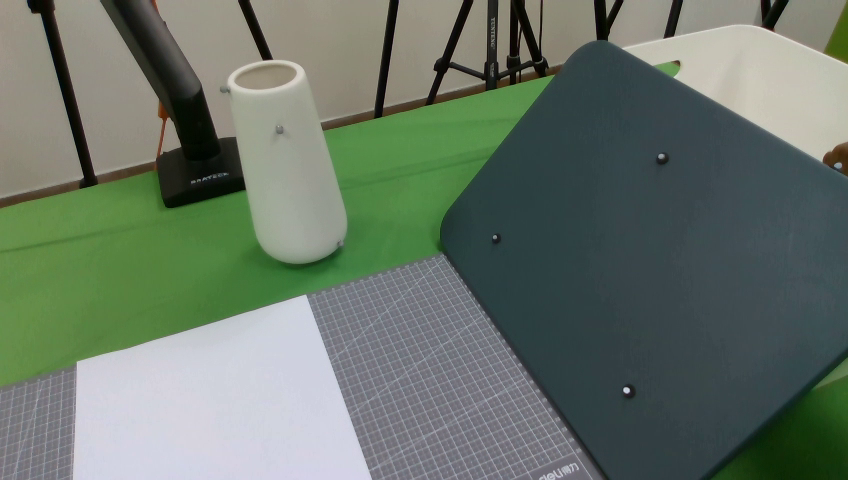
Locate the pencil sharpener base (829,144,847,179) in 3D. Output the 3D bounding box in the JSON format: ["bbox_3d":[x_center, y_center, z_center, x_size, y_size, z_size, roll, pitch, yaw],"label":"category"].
[{"bbox_3d":[0.398,-0.029,0.529,0.061,0.108,0.076,-18,28,-16],"label":"pencil sharpener base"}]

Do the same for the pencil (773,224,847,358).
[{"bbox_3d":[0.366,0.046,0.571,0.012,0.012,0.192,2,39,6],"label":"pencil"}]

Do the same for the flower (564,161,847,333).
[{"bbox_3d":[0.295,0.011,0.624,0.358,0.038,0.044,37,18,31],"label":"flower"}]

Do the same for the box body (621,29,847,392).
[{"bbox_3d":[0.326,-0.052,0.587,0.254,0.162,0.359,-17,41,-15],"label":"box body"}]

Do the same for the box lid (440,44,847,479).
[{"bbox_3d":[0.163,0.001,0.509,0.015,0.263,0.367,25,20,-40],"label":"box lid"}]

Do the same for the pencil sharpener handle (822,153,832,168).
[{"bbox_3d":[0.378,-0.059,0.567,0.036,0.068,0.030,-21,29,-14],"label":"pencil sharpener handle"}]

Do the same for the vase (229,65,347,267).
[{"bbox_3d":[-0.137,-0.069,0.611,0.098,0.202,0.097,-3,39,3],"label":"vase"}]
